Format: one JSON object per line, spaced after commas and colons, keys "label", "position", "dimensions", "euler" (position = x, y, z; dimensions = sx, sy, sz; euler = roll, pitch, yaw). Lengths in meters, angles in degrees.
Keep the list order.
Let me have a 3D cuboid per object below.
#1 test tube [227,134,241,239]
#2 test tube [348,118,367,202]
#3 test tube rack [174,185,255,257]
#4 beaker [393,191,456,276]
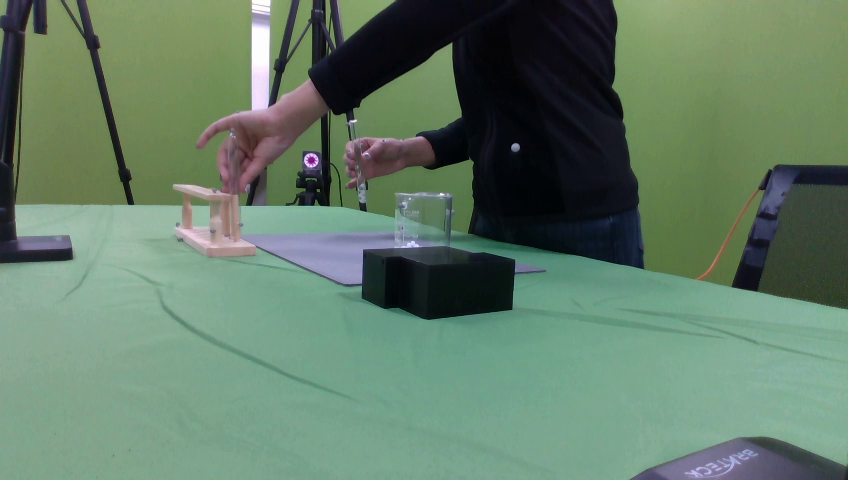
{"label": "test tube", "position": [-0.273, -0.076, 0.869], "dimensions": [0.017, 0.150, 0.017], "euler": [0, 6, 0]}
{"label": "test tube", "position": [-0.116, -0.140, 1.067], "dimensions": [0.017, 0.150, 0.017], "euler": [-5, 18, 2]}
{"label": "test tube rack", "position": [-0.324, -0.035, 0.922], "dimensions": [0.067, 0.085, 0.241], "euler": [-2, 9, -31]}
{"label": "beaker", "position": [-0.004, -0.010, 0.749], "dimensions": [0.074, 0.100, 0.083], "euler": [-3, 9, -40]}
